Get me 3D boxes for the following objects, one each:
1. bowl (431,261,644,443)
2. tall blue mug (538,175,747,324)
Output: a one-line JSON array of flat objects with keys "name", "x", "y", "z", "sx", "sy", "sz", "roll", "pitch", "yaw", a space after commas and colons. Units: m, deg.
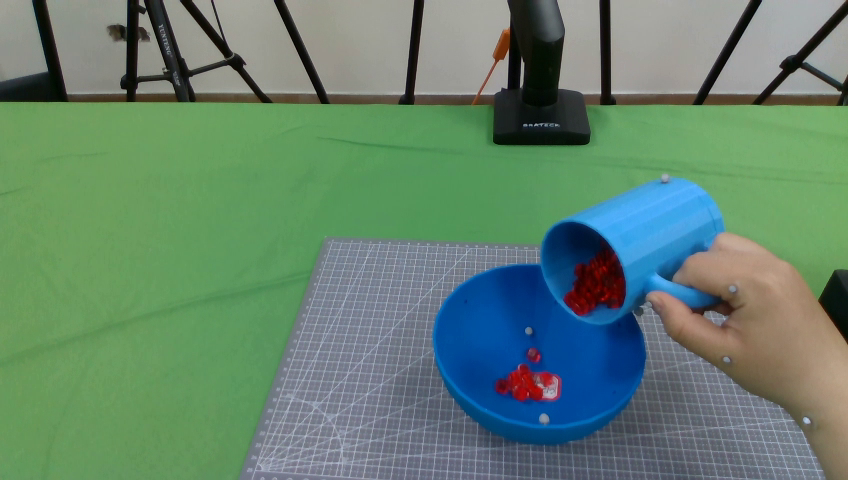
[{"name": "bowl", "x": 0.081, "y": 0.095, "z": 0.457, "sx": 0.151, "sy": 0.077, "sz": 0.150, "roll": -1, "pitch": 42, "yaw": 2}, {"name": "tall blue mug", "x": 0.154, "y": 0.003, "z": 0.417, "sx": 0.108, "sy": 0.078, "sz": 0.107, "roll": -21, "pitch": 5, "yaw": -31}]
